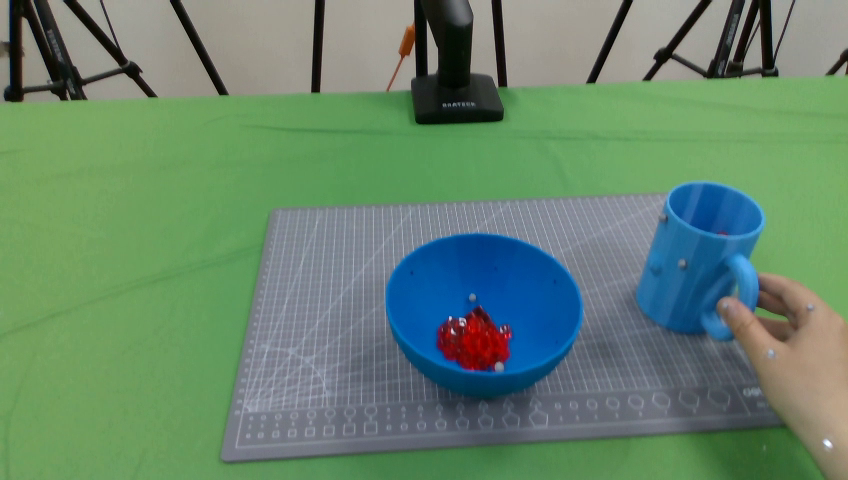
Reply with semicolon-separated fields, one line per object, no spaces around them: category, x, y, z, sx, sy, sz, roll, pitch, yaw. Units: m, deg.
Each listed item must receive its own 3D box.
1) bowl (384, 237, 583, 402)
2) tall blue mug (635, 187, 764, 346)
bowl;0.044;0.075;0.481;0.151;0.077;0.150;1;40;0
tall blue mug;0.242;0.028;0.514;0.078;0.109;0.106;-26;47;-28
